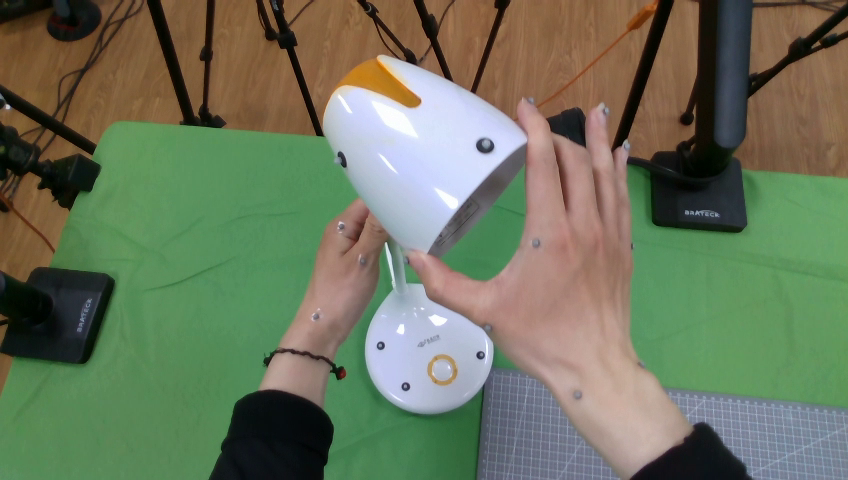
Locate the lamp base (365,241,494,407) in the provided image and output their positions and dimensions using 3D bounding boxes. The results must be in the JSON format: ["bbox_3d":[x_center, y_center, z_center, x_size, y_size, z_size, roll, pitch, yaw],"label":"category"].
[{"bbox_3d":[-0.004,0.085,0.686,0.160,0.181,0.177,-33,66,-12],"label":"lamp base"}]

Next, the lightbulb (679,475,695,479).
[{"bbox_3d":[0.292,0.307,0.648,0.059,0.060,0.106,0,51,3],"label":"lightbulb"}]

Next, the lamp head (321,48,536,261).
[{"bbox_3d":[-0.006,-0.063,0.396,0.122,0.113,0.112,40,74,14],"label":"lamp head"}]
